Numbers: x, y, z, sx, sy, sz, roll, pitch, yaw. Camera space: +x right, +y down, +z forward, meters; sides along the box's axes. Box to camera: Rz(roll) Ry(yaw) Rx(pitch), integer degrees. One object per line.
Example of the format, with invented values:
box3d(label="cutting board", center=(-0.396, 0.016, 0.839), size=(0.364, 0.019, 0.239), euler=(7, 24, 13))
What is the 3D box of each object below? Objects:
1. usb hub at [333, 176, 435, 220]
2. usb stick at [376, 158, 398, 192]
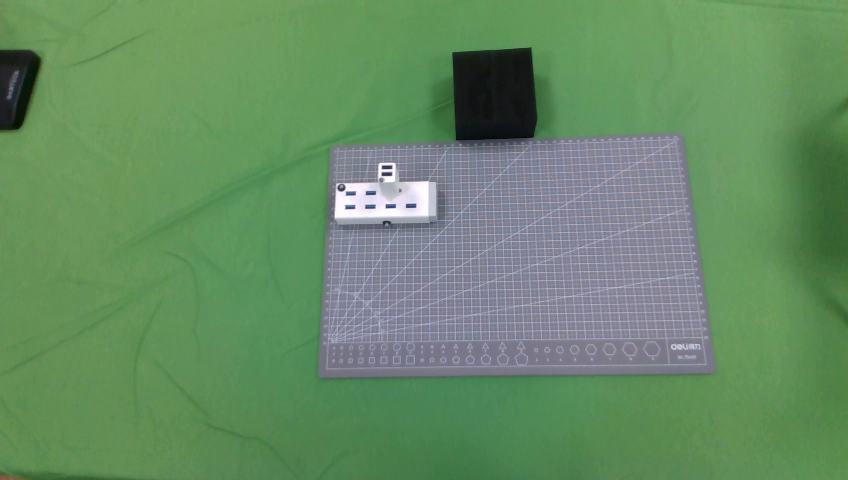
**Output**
box3d(label="usb hub", center=(-0.049, -0.052, 0.749), size=(0.125, 0.025, 0.049), euler=(-1, 72, 3))
box3d(label="usb stick", center=(-0.044, -0.075, 0.726), size=(0.021, 0.059, 0.027), euler=(0, 71, 3))
